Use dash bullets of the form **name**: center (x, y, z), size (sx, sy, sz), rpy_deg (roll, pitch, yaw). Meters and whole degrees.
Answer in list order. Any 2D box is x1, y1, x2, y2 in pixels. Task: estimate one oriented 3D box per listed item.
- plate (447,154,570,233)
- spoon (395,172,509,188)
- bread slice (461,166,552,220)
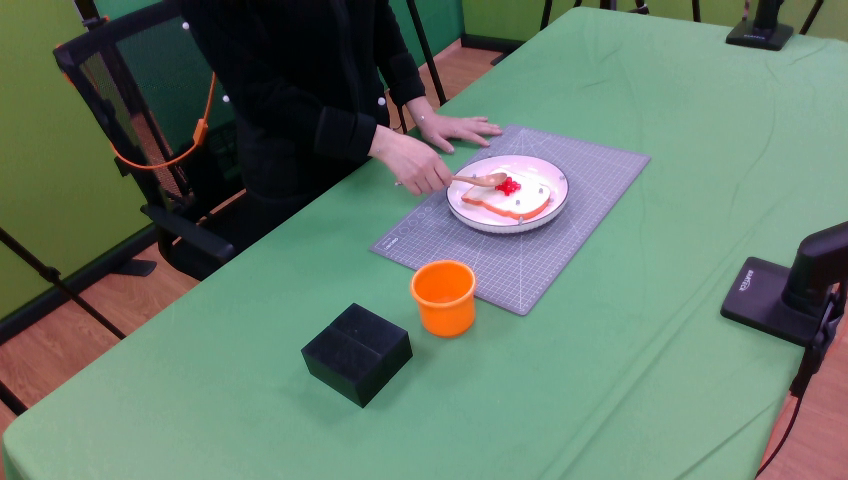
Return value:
- **plate**: center (0.143, -0.076, 1.032), size (0.209, 0.038, 0.208), rpy_deg (-5, 40, 5)
- **spoon**: center (0.047, -0.102, 1.013), size (0.194, 0.022, 0.041), rpy_deg (0, 39, -11)
- **bread slice**: center (0.149, -0.079, 1.036), size (0.133, 0.018, 0.107), rpy_deg (22, 49, 32)
